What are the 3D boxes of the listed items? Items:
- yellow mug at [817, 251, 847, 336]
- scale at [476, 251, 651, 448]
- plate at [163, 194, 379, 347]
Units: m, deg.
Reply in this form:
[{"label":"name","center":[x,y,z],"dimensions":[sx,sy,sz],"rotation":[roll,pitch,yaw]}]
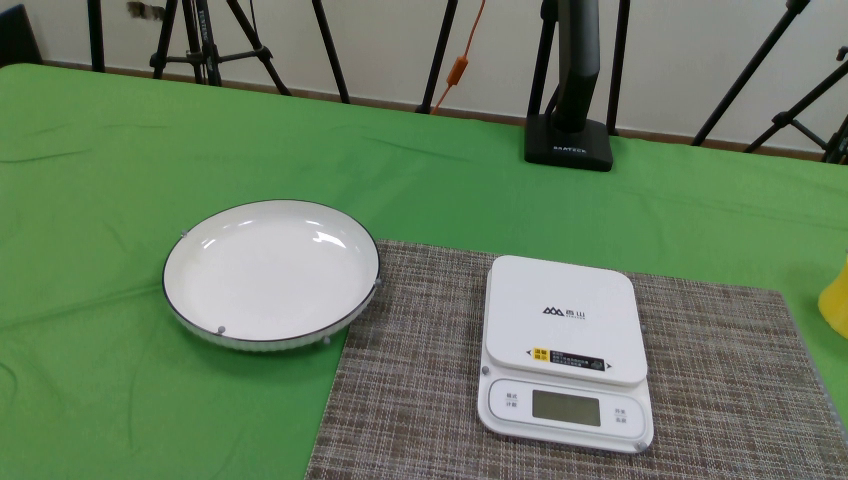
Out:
[{"label":"yellow mug","center":[0.486,0.065,0.619],"dimensions":[0.100,0.064,0.129],"rotation":[-24,50,-29]},{"label":"scale","center":[0.128,0.093,0.569],"dimensions":[0.148,0.032,0.199],"rotation":[8,41,3]},{"label":"plate","center":[-0.150,0.029,0.612],"dimensions":[0.209,0.038,0.207],"rotation":[3,41,-3]}]
